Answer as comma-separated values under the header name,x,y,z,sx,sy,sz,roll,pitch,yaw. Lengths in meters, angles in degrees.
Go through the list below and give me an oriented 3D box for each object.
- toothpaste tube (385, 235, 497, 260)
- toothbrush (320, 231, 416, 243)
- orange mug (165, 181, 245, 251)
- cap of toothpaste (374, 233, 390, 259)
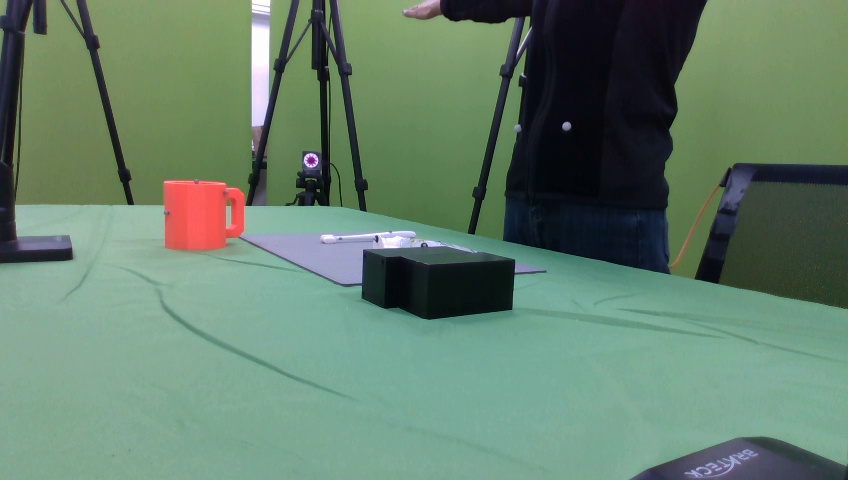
name,x,y,z,sx,sy,sz,roll,pitch,yaw
toothpaste tube,0.019,0.014,0.852,0.166,0.034,0.055,4,13,-20
toothbrush,-0.089,-0.006,1.025,0.183,0.014,0.016,-3,12,-34
orange mug,-0.326,-0.040,0.911,0.083,0.101,0.127,8,14,37
cap of toothpaste,-0.058,0.008,0.825,0.011,0.037,0.037,-4,9,-30
